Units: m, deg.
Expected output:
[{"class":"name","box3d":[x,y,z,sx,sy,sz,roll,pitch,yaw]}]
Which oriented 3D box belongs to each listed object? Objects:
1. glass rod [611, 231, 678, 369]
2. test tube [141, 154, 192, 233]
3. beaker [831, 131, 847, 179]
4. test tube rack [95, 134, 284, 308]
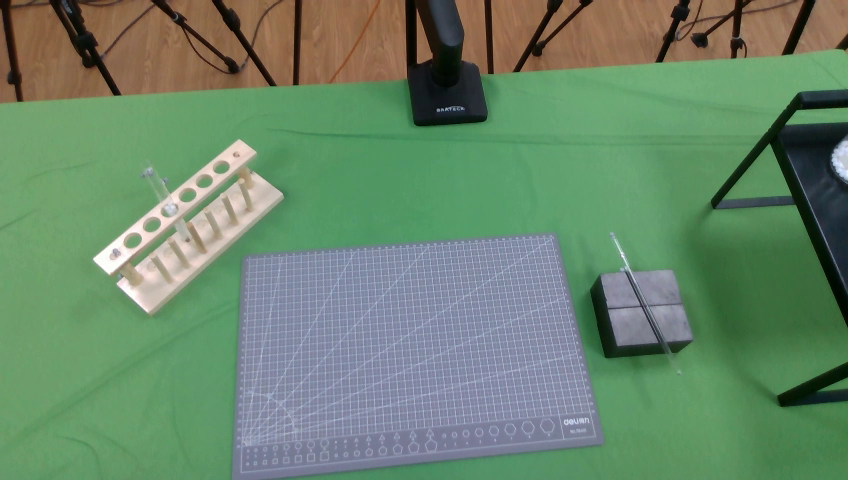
[{"class":"glass rod","box3d":[0.284,0.073,0.786,0.008,0.008,0.198,-13,64,-9]},{"class":"test tube","box3d":[-0.326,-0.055,0.777,0.017,0.151,0.017,0,56,0]},{"class":"beaker","box3d":[0.529,-0.118,0.696,0.074,0.101,0.083,-25,66,-15]},{"class":"test tube rack","box3d":[-0.306,-0.028,0.820,0.066,0.086,0.242,37,67,16]}]
